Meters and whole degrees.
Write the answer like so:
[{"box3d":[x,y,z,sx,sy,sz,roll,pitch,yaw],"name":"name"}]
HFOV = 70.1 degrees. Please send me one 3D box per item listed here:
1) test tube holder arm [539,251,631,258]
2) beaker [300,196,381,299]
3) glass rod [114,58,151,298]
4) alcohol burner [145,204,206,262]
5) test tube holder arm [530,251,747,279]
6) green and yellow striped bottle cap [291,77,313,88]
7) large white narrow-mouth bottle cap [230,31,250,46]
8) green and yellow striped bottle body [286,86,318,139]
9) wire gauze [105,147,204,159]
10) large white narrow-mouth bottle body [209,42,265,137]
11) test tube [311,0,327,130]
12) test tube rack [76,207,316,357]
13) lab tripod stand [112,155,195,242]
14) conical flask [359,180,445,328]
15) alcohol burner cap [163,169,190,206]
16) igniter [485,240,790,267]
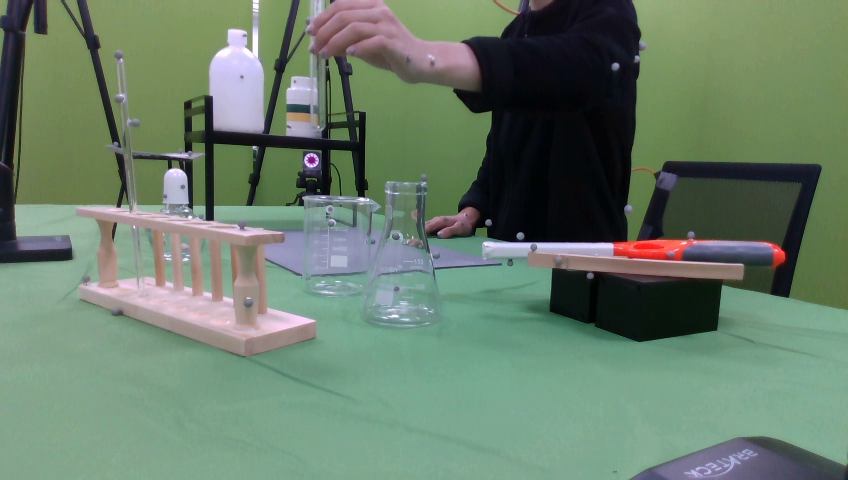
[{"box3d":[0.139,0.019,0.538,0.087,0.015,0.010,4,8,14],"name":"test tube holder arm"},{"box3d":[-0.087,0.006,0.626,0.084,0.100,0.074,1,8,-17],"name":"beaker"},{"box3d":[-0.236,-0.044,0.492,0.008,0.199,0.008,0,15,0],"name":"glass rod"},{"box3d":[-0.321,-0.032,0.788,0.078,0.119,0.078,0,7,0],"name":"alcohol burner"},{"box3d":[0.182,0.022,0.523,0.178,0.015,0.013,3,8,12],"name":"test tube holder arm"},{"box3d":[-0.249,-0.321,1.237,0.045,0.020,0.045,3,5,0],"name":"green and yellow striped bottle cap"},{"box3d":[-0.354,-0.389,1.167,0.038,0.024,0.037,4,6,0],"name":"large white narrow-mouth bottle cap"},{"box3d":[-0.251,-0.270,1.245,0.063,0.119,0.063,2,7,0],"name":"green and yellow striped bottle body"},{"box3d":[-0.408,-0.131,0.929,0.125,0.011,0.121,2,6,-11],"name":"wire gauze"},{"box3d":[-0.361,-0.303,1.175,0.102,0.194,0.102,4,6,0],"name":"large white narrow-mouth bottle body"},{"box3d":[-0.106,-0.185,0.605,0.017,0.150,0.017,0,1,0],"name":"test tube"},{"box3d":[-0.196,0.023,0.500,0.241,0.085,0.067,8,9,36],"name":"test tube rack"},{"box3d":[-0.405,-0.064,0.931,0.148,0.131,0.148,1,7,0],"name":"lab tripod stand"},{"box3d":[-0.017,0.010,0.522,0.075,0.122,0.075,2,7,0],"name":"conical flask"},{"box3d":[-0.320,-0.068,0.782,0.034,0.048,0.034,1,7,0],"name":"alcohol burner cap"},{"box3d":[0.197,0.012,0.585,0.276,0.025,0.057,1,5,12],"name":"igniter"}]
